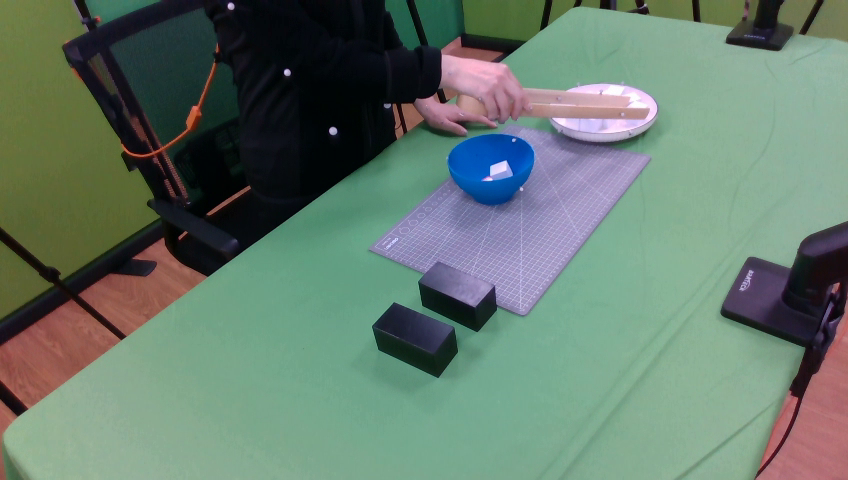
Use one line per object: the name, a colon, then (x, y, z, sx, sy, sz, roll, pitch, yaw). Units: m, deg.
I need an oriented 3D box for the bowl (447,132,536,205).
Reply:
bowl: (0.119, -0.115, 1.051, 0.151, 0.077, 0.150, -6, 40, 5)

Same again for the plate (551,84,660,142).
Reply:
plate: (0.355, -0.246, 1.195, 0.207, 0.039, 0.206, -5, 39, 5)

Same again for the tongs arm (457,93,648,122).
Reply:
tongs arm: (0.238, -0.227, 1.055, 0.390, 0.028, 0.028, -2, 44, -24)

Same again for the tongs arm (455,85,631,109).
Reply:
tongs arm: (0.226, -0.247, 1.078, 0.387, 0.026, 0.050, -1, 40, -23)
